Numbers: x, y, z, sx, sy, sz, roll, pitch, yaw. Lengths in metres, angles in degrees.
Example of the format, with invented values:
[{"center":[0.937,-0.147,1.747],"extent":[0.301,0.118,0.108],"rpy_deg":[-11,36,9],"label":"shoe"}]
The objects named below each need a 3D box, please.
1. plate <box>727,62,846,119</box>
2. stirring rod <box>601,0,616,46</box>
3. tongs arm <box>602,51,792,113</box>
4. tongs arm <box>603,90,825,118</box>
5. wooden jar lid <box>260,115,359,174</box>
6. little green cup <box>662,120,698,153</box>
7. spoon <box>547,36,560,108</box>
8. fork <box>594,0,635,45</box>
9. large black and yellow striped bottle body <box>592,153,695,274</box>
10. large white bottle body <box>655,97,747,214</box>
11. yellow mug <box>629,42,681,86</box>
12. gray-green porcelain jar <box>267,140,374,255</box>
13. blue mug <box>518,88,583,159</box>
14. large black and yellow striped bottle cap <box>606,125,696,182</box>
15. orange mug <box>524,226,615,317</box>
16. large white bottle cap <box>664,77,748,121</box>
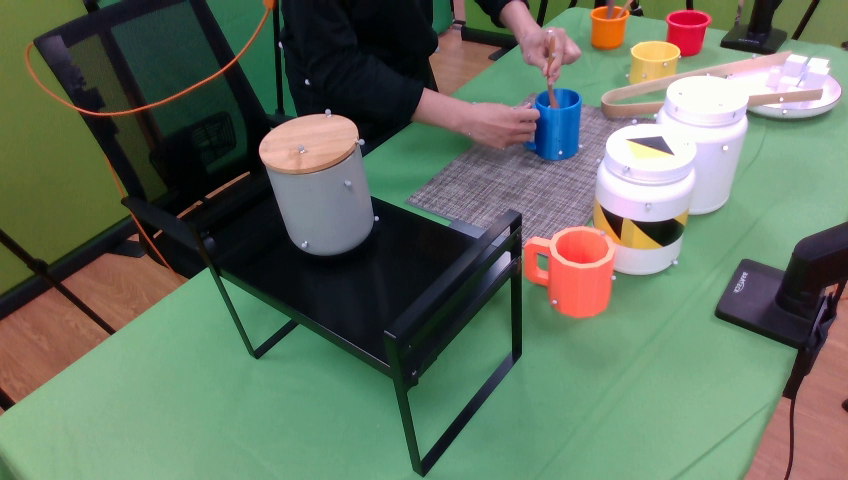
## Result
[{"center":[0.709,-0.292,1.197],"extent":[0.207,0.039,0.206],"rpy_deg":[-4,40,4],"label":"plate"},{"center":[0.452,-0.554,1.464],"extent":[0.014,0.006,0.176],"rpy_deg":[11,86,15],"label":"stirring rod"},{"center":[0.552,-0.320,1.224],"extent":[0.384,0.027,0.050],"rpy_deg":[-10,43,7],"label":"tongs arm"},{"center":[0.546,-0.262,1.163],"extent":[0.386,0.028,0.028],"rpy_deg":[-1,49,18],"label":"tongs arm"},{"center":[-0.124,-0.101,0.662],"extent":[0.108,0.021,0.108],"rpy_deg":[-4,41,4],"label":"wooden jar lid"},{"center":[0.470,-0.191,1.117],"extent":[0.061,0.039,0.061],"rpy_deg":[-5,40,5],"label":"little green cup"},{"center":[0.229,-0.274,1.082],"extent":[0.021,0.195,0.041],"rpy_deg":[12,52,27],"label":"spoon"},{"center":[0.484,-0.552,1.447],"extent":[0.207,0.019,0.028],"rpy_deg":[-51,46,17],"label":"fork"},{"center":[0.313,-0.056,0.872],"extent":[0.131,0.185,0.130],"rpy_deg":[-4,41,4],"label":"large black and yellow striped bottle body"},{"center":[0.430,-0.148,0.959],"extent":[0.130,0.185,0.130],"rpy_deg":[-4,41,4],"label":"large white bottle body"},{"center":[0.495,-0.389,1.321],"extent":[0.100,0.064,0.130],"rpy_deg":[-14,40,-6],"label":"yellow mug"},{"center":[-0.117,-0.054,0.703],"extent":[0.106,0.127,0.105],"rpy_deg":[-4,40,4],"label":"gray-green porcelain jar"},{"center":[0.233,-0.213,1.121],"extent":[0.116,0.106,0.082],"rpy_deg":[-9,41,-1],"label":"blue mug"},{"center":[0.305,-0.119,0.816],"extent":[0.115,0.019,0.114],"rpy_deg":[-5,41,5],"label":"large black and yellow striped bottle cap"},{"center":[0.201,0.039,0.845],"extent":[0.125,0.101,0.083],"rpy_deg":[18,46,21],"label":"orange mug"},{"center":[0.421,-0.212,0.905],"extent":[0.115,0.018,0.114],"rpy_deg":[-4,40,4],"label":"large white bottle cap"}]
